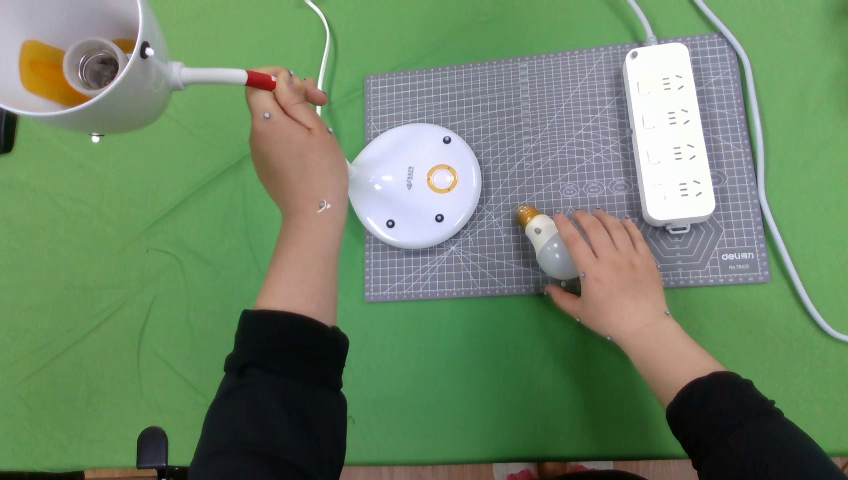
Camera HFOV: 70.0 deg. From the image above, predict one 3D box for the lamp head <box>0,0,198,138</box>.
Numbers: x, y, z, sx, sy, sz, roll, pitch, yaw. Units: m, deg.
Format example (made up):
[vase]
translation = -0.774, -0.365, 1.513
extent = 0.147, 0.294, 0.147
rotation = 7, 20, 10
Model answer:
[lamp head]
translation = -0.219, -0.118, 0.404
extent = 0.112, 0.123, 0.112
rotation = 0, 84, 3

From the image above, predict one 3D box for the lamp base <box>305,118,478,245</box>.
[lamp base]
translation = -0.042, -0.086, 0.660
extent = 0.179, 0.181, 0.159
rotation = -11, 75, 12

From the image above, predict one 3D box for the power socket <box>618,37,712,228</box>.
[power socket]
translation = 0.269, -0.126, 0.684
extent = 0.072, 0.033, 0.225
rotation = -6, 76, 9

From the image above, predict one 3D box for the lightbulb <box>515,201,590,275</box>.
[lightbulb]
translation = 0.138, -0.007, 0.675
extent = 0.059, 0.060, 0.106
rotation = -39, 57, 1
